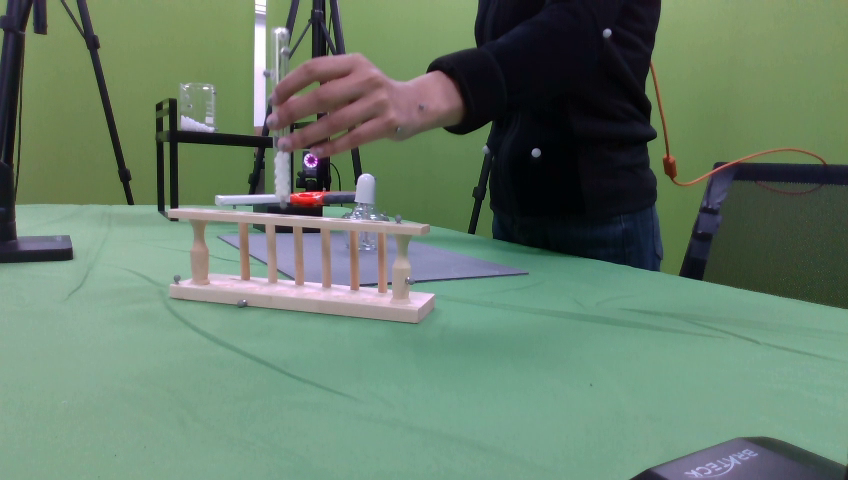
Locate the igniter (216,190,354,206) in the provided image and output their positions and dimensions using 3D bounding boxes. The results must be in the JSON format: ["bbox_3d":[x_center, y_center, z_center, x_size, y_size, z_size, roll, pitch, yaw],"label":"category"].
[{"bbox_3d":[-0.248,-0.079,1.152,0.278,0.025,0.057,-4,12,-27],"label":"igniter"}]

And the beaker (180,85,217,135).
[{"bbox_3d":[-0.478,-0.275,1.279,0.074,0.100,0.084,4,8,15],"label":"beaker"}]

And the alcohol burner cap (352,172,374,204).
[{"bbox_3d":[-0.093,-0.081,0.935,0.034,0.048,0.034,7,9,-1],"label":"alcohol burner cap"}]

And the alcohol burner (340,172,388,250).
[{"bbox_3d":[-0.094,-0.045,0.939,0.078,0.119,0.078,0,7,0],"label":"alcohol burner"}]

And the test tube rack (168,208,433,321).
[{"bbox_3d":[-0.116,0.017,0.574,0.242,0.085,0.067,4,8,13],"label":"test tube rack"}]

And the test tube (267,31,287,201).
[{"bbox_3d":[-0.133,-0.110,0.546,0.017,0.150,0.017,1,10,0],"label":"test tube"}]
